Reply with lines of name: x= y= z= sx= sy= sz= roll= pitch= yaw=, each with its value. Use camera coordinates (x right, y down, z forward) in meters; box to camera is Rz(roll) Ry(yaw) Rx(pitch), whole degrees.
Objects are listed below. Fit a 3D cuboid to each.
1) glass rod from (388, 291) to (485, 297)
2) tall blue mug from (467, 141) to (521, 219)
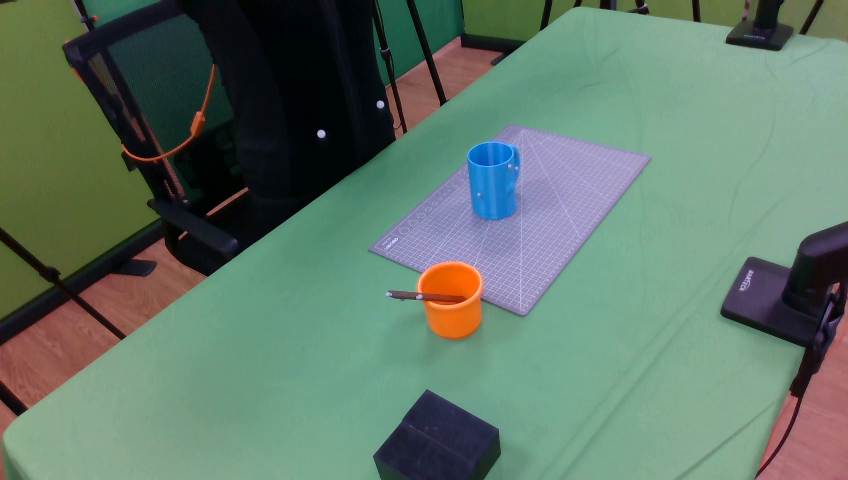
glass rod: x=0.022 y=0.073 z=0.808 sx=0.008 sy=0.008 sz=0.201 roll=31 pitch=16 yaw=38
tall blue mug: x=0.119 y=-0.109 z=1.020 sx=0.077 sy=0.108 sz=0.107 roll=2 pitch=42 yaw=16
